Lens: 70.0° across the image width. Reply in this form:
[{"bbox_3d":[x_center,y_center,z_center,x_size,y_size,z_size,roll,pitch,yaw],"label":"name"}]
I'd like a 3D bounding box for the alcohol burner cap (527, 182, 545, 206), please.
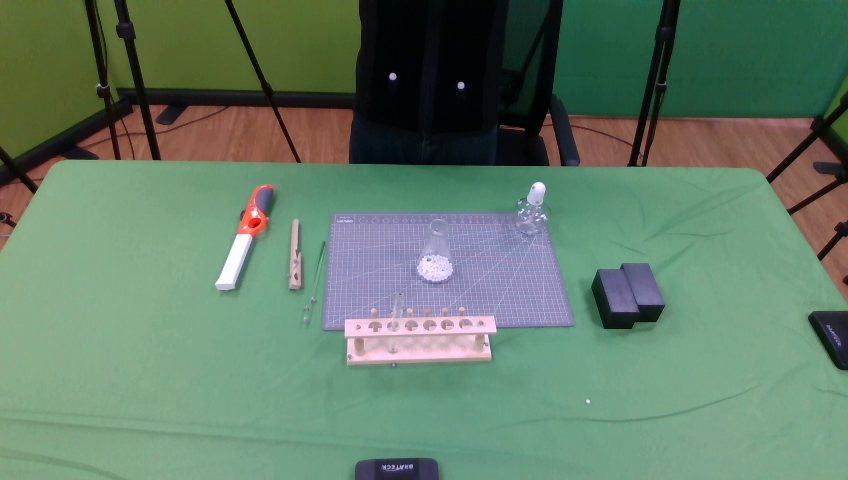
[{"bbox_3d":[0.222,-0.093,1.190,0.034,0.048,0.033,2,54,-3],"label":"alcohol burner cap"}]

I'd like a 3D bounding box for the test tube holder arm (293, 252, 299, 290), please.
[{"bbox_3d":[-0.241,0.056,1.131,0.010,0.015,0.087,24,35,-33],"label":"test tube holder arm"}]

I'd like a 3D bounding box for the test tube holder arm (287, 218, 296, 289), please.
[{"bbox_3d":[-0.253,0.022,1.158,0.013,0.015,0.177,23,36,-34],"label":"test tube holder arm"}]

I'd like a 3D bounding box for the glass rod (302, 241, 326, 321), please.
[{"bbox_3d":[-0.203,0.071,1.124,0.008,0.008,0.198,4,44,1],"label":"glass rod"}]

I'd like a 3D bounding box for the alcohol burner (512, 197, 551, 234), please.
[{"bbox_3d":[0.219,-0.069,1.217,0.078,0.119,0.077,3,47,-3],"label":"alcohol burner"}]

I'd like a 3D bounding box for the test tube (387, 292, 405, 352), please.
[{"bbox_3d":[-0.045,0.133,0.955,0.017,0.151,0.017,5,47,-5],"label":"test tube"}]

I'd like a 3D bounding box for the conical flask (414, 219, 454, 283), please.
[{"bbox_3d":[0.022,0.016,1.112,0.075,0.122,0.075,2,46,-2],"label":"conical flask"}]

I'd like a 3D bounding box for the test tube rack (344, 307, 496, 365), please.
[{"bbox_3d":[-0.009,0.154,1.007,0.242,0.085,0.066,-1,46,-5],"label":"test tube rack"}]

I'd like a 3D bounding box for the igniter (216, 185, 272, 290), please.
[{"bbox_3d":[-0.347,-0.014,1.182,0.057,0.025,0.275,-1,45,8],"label":"igniter"}]
